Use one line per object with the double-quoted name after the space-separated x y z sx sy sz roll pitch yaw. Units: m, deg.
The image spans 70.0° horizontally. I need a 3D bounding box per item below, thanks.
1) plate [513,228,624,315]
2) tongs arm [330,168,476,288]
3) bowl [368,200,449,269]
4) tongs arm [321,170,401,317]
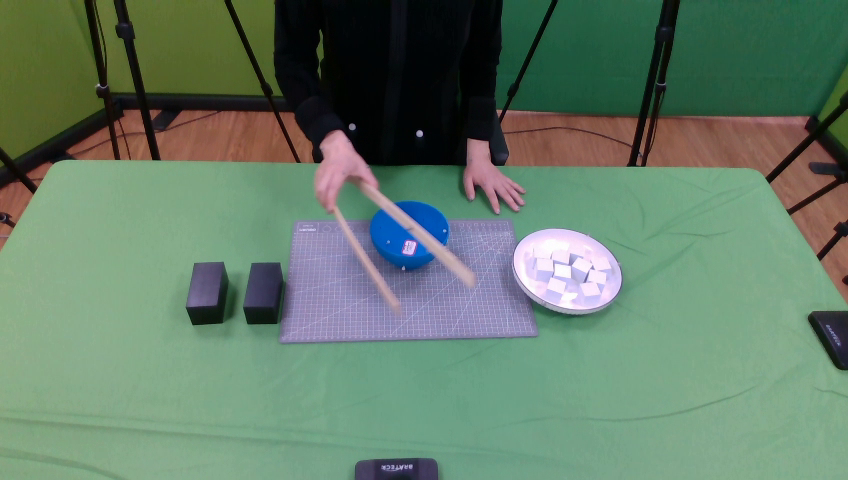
0.268 0.063 1.146 0.208 0.039 0.206 3 46 -3 "plate"
-0.049 -0.030 0.998 0.051 0.026 0.382 -23 43 -25 "tongs arm"
-0.031 0.002 1.151 0.151 0.077 0.150 2 46 -2 "bowl"
-0.108 -0.009 0.971 0.028 0.028 0.385 -19 41 -15 "tongs arm"
